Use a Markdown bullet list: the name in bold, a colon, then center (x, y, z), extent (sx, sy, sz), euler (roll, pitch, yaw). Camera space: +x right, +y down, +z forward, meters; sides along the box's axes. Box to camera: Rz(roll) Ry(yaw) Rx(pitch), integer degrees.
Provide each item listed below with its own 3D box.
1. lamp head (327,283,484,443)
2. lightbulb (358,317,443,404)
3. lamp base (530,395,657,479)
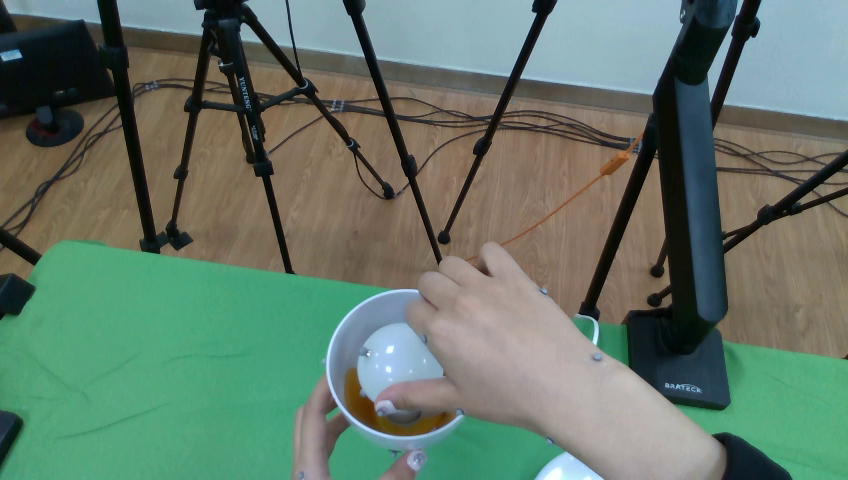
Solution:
- **lamp head**: center (-0.009, 0.107, 0.472), extent (0.112, 0.124, 0.111), euler (-2, 59, 3)
- **lightbulb**: center (-0.016, 0.095, 0.444), extent (0.059, 0.108, 0.059), euler (0, 62, 0)
- **lamp base**: center (0.191, 0.244, 0.608), extent (0.161, 0.182, 0.177), euler (-3, 52, -5)
